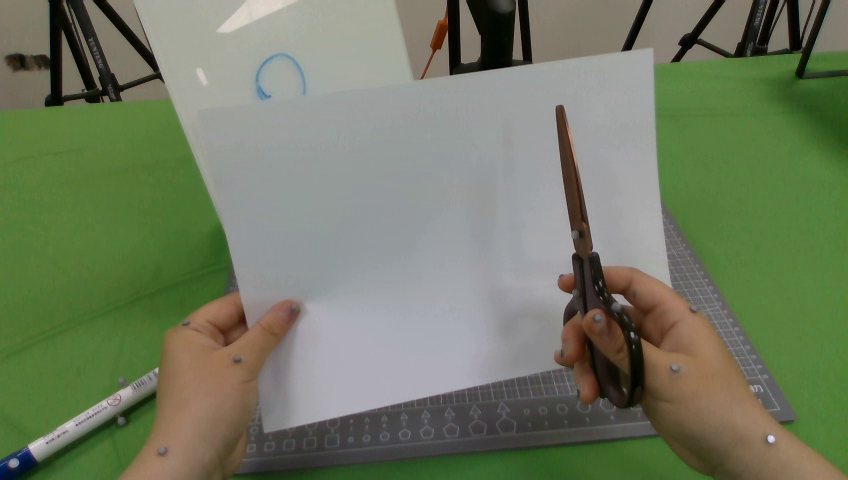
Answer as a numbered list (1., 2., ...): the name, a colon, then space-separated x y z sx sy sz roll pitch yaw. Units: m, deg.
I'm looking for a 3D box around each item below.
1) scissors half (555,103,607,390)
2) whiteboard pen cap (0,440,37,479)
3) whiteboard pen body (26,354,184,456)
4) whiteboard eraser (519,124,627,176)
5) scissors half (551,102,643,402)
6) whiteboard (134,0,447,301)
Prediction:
1. scissors half: 0.090 0.006 0.362 0.013 0.175 0.040 -13 11 -16
2. whiteboard pen cap: -0.291 0.155 0.426 0.018 0.018 0.033 32 50 34
3. whiteboard pen body: -0.249 0.129 0.456 0.141 0.017 0.017 -32 48 -32
4. whiteboard eraser: 0.169 -0.102 0.692 0.113 0.042 0.055 -6 43 -5
5. scissors half: 0.095 0.005 0.343 0.013 0.040 0.175 -14 85 -11
6. whiteboard: -0.133 -0.137 0.592 0.217 0.307 0.142 -24 25 -23
